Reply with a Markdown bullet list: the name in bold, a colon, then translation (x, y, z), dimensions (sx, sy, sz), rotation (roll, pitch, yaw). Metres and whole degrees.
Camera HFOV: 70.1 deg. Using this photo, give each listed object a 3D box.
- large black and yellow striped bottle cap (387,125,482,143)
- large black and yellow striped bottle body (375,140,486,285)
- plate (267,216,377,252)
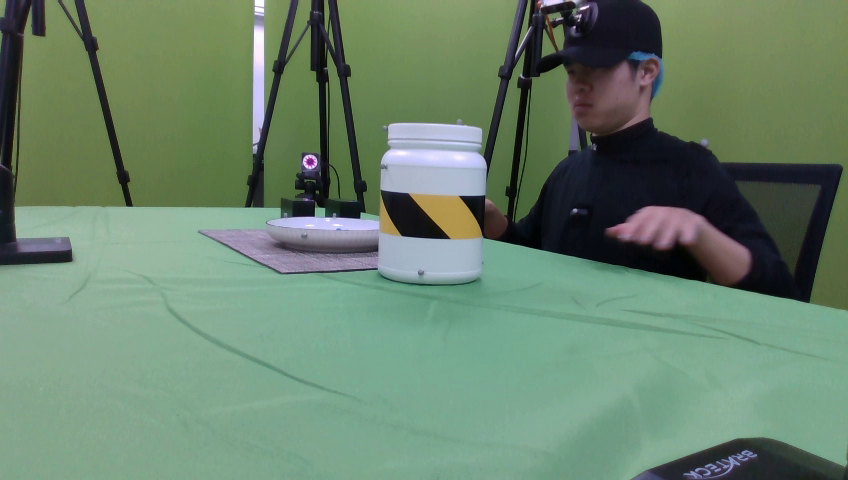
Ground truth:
- **large black and yellow striped bottle cap**: translation (0.012, -0.127, 0.732), dimensions (0.115, 0.019, 0.115), rotation (1, 6, 0)
- **large black and yellow striped bottle body**: translation (0.008, -0.044, 0.744), dimensions (0.131, 0.184, 0.130), rotation (3, 7, 0)
- **plate**: translation (-0.145, -0.010, 0.967), dimensions (0.208, 0.039, 0.207), rotation (2, 7, 0)
